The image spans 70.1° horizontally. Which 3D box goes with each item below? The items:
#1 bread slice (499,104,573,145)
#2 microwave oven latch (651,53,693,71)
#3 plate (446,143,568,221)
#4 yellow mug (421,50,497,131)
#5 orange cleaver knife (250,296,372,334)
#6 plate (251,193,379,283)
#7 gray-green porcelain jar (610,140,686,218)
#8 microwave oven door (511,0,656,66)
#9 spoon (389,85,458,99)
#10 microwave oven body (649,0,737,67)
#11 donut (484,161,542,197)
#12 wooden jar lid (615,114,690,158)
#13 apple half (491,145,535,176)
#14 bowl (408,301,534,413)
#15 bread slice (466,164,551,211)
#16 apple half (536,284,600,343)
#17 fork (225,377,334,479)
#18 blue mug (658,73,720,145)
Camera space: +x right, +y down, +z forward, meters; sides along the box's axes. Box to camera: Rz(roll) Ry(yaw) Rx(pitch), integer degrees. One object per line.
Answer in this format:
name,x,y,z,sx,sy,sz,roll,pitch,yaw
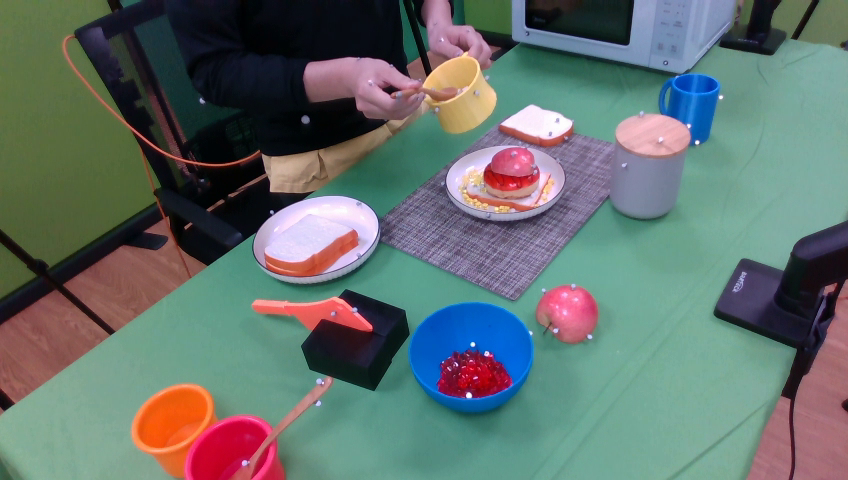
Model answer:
bread slice,0.231,-0.231,1.205,0.105,0.019,0.130,-37,47,-28
microwave oven latch,0.532,-0.386,1.301,0.078,0.029,0.030,27,52,34
plate,0.142,-0.096,1.045,0.207,0.039,0.206,-4,40,4
yellow mug,0.059,-0.239,0.937,0.099,0.064,0.130,2,58,35
orange cleaver knife,-0.159,0.103,0.828,0.210,0.078,0.012,-4,43,39
plate,-0.174,-0.001,0.984,0.209,0.038,0.208,-4,41,4
gray-green porcelain jar,0.354,-0.106,0.964,0.106,0.127,0.105,-4,41,4
microwave oven door,0.350,-0.539,1.348,0.353,0.245,0.039,24,50,31
spoon,-0.002,-0.211,0.856,0.041,0.021,0.194,6,14,25
microwave oven body,0.475,-0.602,1.411,0.438,0.261,0.327,23,50,32
donut,0.149,-0.110,1.016,0.099,0.048,0.098,-5,38,4
wooden jar lid,0.347,-0.155,0.923,0.108,0.021,0.108,-3,44,4
apple half,0.147,-0.139,0.994,0.081,0.033,0.081,1,38,0
bowl,0.059,0.156,0.739,0.151,0.077,0.150,-4,40,4
bread slice,0.141,-0.092,1.042,0.133,0.018,0.107,11,43,19
apple half,0.196,0.091,0.815,0.075,0.053,0.080,-22,42,-20
fork,-0.163,0.216,0.646,0.207,0.019,0.028,-49,42,16
blue mug,0.483,-0.250,1.127,0.082,0.106,0.115,-26,44,-19
